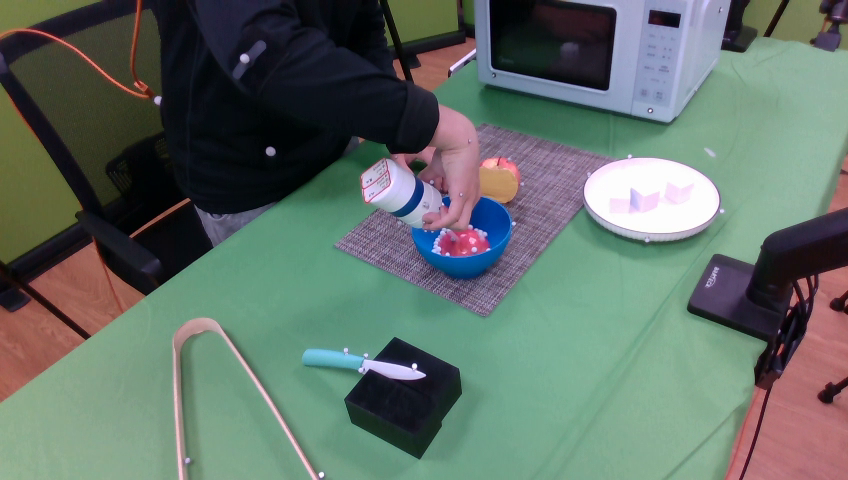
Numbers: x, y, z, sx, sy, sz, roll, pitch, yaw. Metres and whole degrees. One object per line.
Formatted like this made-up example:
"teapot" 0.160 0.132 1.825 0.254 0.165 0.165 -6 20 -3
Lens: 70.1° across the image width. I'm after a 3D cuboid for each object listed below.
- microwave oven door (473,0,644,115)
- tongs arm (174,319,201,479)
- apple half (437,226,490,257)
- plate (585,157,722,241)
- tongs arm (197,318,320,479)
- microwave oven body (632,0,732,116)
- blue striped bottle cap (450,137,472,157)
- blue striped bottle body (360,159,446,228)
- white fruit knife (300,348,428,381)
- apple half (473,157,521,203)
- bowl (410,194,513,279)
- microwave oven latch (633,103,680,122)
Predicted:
"microwave oven door" 0.257 -0.396 1.199 0.353 0.245 0.039 21 48 29
"tongs arm" -0.272 0.234 0.723 0.051 0.026 0.381 -18 40 -15
"apple half" 0.056 0.001 0.901 0.081 0.033 0.081 -2 43 2
"plate" 0.367 -0.063 0.979 0.207 0.039 0.206 -4 40 4
"tongs arm" -0.199 0.208 0.751 0.028 0.028 0.384 -31 45 -22
"microwave oven body" 0.377 -0.463 1.267 0.438 0.261 0.327 21 49 30
"blue striped bottle cap" 0.071 -0.180 1.168 0.044 0.021 0.044 -4 42 4
"blue striped bottle body" -0.022 -0.056 0.815 0.062 0.122 0.063 -21 57 35
"white fruit knife" -0.079 0.154 0.748 0.206 0.027 0.016 1 21 34
"apple half" 0.128 -0.107 1.030 0.080 0.075 0.053 5 38 19
"bowl" 0.058 0.005 0.905 0.151 0.077 0.150 -4 39 4
"microwave oven latch" 0.444 -0.249 1.158 0.078 0.029 0.030 21 49 30
